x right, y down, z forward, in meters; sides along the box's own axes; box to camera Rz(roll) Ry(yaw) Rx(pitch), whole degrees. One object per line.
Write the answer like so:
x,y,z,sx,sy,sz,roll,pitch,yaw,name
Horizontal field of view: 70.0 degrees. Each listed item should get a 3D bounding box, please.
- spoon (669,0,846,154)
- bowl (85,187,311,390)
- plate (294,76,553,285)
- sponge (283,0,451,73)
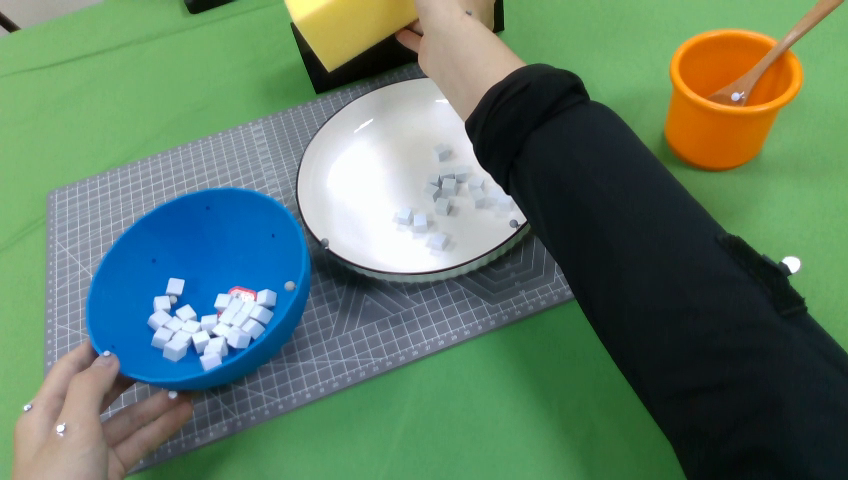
0.263,-0.138,0.449,0.022,0.194,0.041,5,46,-43,spoon
-0.146,0.045,0.432,0.151,0.077,0.150,-4,56,7,bowl
-0.001,-0.050,0.496,0.209,0.038,0.207,-4,56,6,plate
-0.029,-0.254,0.542,0.207,0.061,0.117,-30,57,3,sponge
